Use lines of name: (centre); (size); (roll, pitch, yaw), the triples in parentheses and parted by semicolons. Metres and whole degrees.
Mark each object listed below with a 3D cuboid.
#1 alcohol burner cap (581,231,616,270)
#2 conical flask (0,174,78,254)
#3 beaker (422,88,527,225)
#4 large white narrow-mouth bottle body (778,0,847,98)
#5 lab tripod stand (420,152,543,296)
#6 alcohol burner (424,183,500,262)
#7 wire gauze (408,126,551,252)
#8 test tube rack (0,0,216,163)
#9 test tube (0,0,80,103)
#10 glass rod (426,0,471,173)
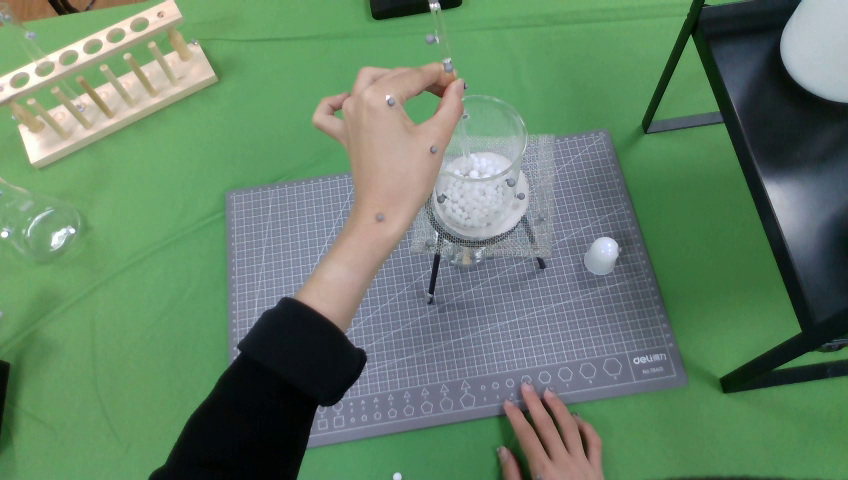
alcohol burner cap: (0.182, 0.008, 0.625); (0.034, 0.048, 0.033); (-1, 68, 4)
conical flask: (-0.439, -0.040, 0.646); (0.075, 0.123, 0.075); (-1, 67, 4)
beaker: (0.038, -0.059, 0.490); (0.084, 0.101, 0.073); (-31, 69, -9)
large white narrow-mouth bottle body: (0.339, -0.193, 0.424); (0.102, 0.196, 0.101); (-2, 67, 5)
lab tripod stand: (0.050, -0.016, 0.595); (0.148, 0.132, 0.147); (-1, 66, 2)
alcohol burner: (0.038, -0.023, 0.609); (0.078, 0.120, 0.077); (-1, 66, 2)
wire gauze: (0.051, -0.047, 0.536); (0.121, 0.011, 0.124); (4, 66, 3)
test tube rack: (-0.388, -0.192, 0.726); (0.242, 0.086, 0.066); (-29, 68, -8)
test tube: (-0.434, -0.208, 0.681); (0.017, 0.151, 0.017); (-2, 61, 3)
glass rod: (0.021, -0.102, 0.450); (0.008, 0.201, 0.008); (-4, 65, 9)
